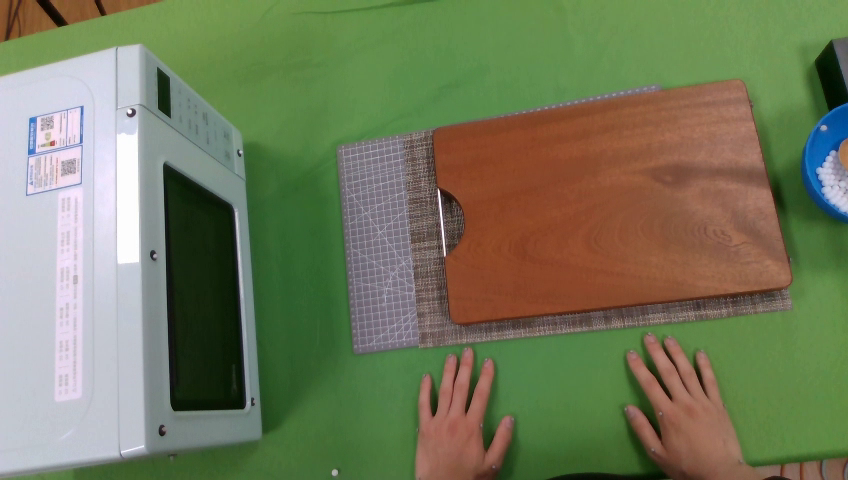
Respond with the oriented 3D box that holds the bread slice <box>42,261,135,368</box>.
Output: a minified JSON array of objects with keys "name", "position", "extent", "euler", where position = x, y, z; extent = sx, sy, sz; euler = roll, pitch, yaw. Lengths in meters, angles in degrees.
[{"name":"bread slice","position":[-0.394,0.096,0.709],"extent":[0.134,0.018,0.106],"euler":[-21,75,19]}]

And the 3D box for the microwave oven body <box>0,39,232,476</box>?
[{"name":"microwave oven body","position":[-0.417,0.043,0.741],"extent":[0.326,0.262,0.439],"euler":[-11,75,7]}]

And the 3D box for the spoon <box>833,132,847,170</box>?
[{"name":"spoon","position":[0.502,-0.045,0.658],"extent":[0.041,0.022,0.191],"euler":[-9,52,6]}]

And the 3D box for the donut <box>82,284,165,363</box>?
[{"name":"donut","position":[-0.373,0.103,0.752],"extent":[0.099,0.048,0.099],"euler":[0,91,-1]}]

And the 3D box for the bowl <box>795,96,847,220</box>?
[{"name":"bowl","position":[0.500,-0.084,0.699],"extent":[0.151,0.077,0.150],"euler":[-2,77,10]}]

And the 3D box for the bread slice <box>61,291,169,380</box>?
[{"name":"bread slice","position":[-0.402,0.118,0.779],"extent":[0.131,0.019,0.104],"euler":[7,81,7]}]

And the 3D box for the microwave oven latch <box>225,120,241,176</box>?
[{"name":"microwave oven latch","position":[-0.280,-0.129,0.858],"extent":[0.030,0.030,0.078],"euler":[-11,76,7]}]

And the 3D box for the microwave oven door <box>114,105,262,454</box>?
[{"name":"microwave oven door","position":[-0.270,0.055,0.705],"extent":[0.039,0.245,0.353],"euler":[-11,75,8]}]
